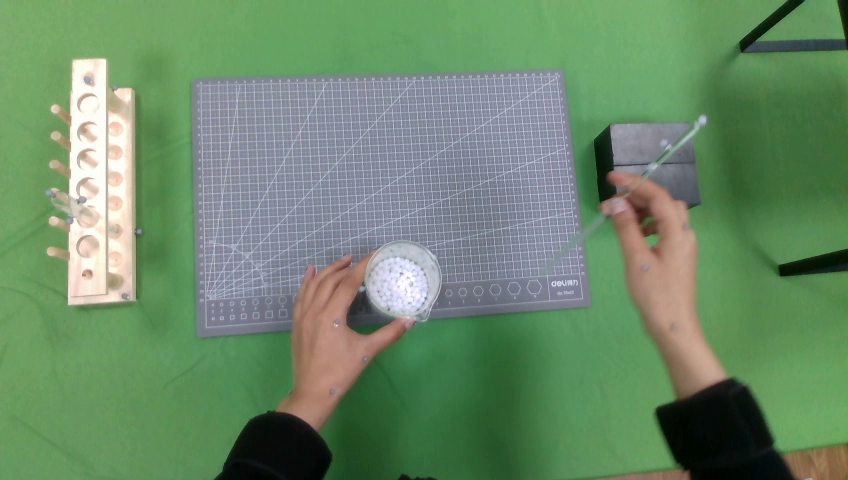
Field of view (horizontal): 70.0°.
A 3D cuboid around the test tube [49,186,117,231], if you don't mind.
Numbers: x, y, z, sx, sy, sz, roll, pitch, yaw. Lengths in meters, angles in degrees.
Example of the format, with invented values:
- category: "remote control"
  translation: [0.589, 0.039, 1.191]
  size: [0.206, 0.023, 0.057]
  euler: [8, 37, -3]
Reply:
- category: "test tube"
  translation: [-0.324, -0.027, 0.583]
  size: [0.017, 0.150, 0.017]
  euler: [2, 81, -12]

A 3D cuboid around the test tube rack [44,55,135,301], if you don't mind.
- category: "test tube rack"
  translation: [-0.353, -0.062, 0.637]
  size: [0.067, 0.085, 0.241]
  euler: [-3, 81, -7]

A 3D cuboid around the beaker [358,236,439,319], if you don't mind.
- category: "beaker"
  translation: [-0.026, 0.044, 0.617]
  size: [0.074, 0.100, 0.084]
  euler: [-28, 85, -10]

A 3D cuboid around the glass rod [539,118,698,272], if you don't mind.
- category: "glass rod"
  translation: [0.165, -0.033, 0.538]
  size: [0.008, 0.200, 0.008]
  euler: [24, 39, -20]
